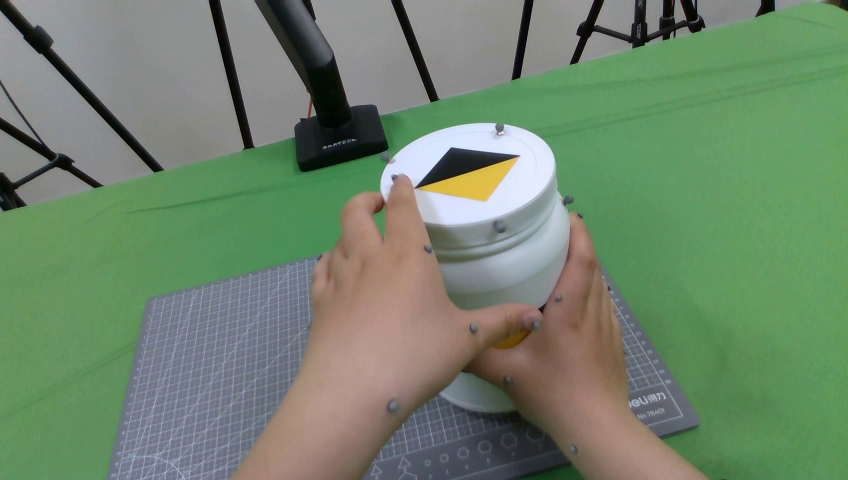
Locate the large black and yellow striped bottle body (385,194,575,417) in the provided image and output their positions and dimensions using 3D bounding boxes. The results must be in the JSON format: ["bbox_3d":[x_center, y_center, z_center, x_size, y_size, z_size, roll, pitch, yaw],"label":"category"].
[{"bbox_3d":[0.044,0.028,0.451,0.130,0.186,0.129,-8,40,7],"label":"large black and yellow striped bottle body"}]

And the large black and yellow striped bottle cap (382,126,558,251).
[{"bbox_3d":[0.030,-0.037,0.396,0.115,0.019,0.114,-8,41,7],"label":"large black and yellow striped bottle cap"}]
